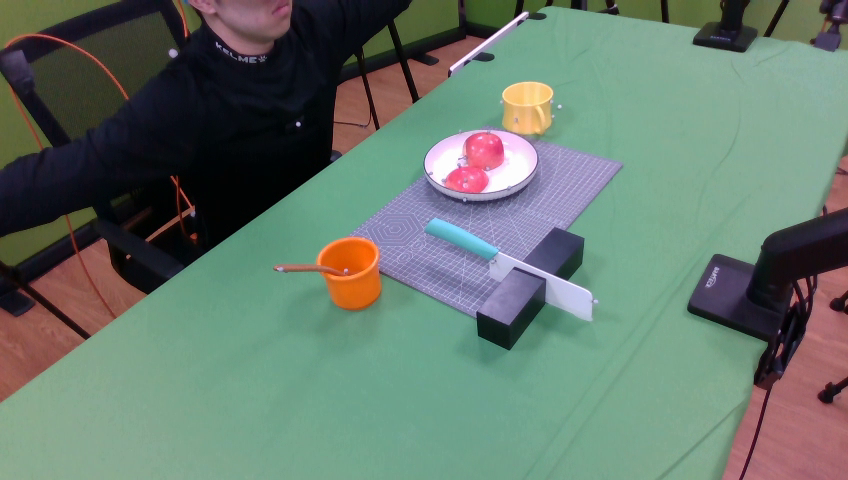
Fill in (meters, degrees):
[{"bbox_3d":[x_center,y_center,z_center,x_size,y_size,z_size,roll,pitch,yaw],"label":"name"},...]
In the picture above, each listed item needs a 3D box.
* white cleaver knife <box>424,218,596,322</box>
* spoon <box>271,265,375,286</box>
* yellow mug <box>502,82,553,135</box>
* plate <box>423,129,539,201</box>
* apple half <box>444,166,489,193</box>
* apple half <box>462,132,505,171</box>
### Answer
[{"bbox_3d":[0.114,0.042,0.865,0.284,0.066,0.021,27,47,28],"label":"white cleaver knife"},{"bbox_3d":[-0.136,0.046,0.839,0.041,0.195,0.021,24,94,35],"label":"spoon"},{"bbox_3d":[0.212,-0.256,1.204,0.100,0.064,0.130,-16,42,-10],"label":"yellow mug"},{"bbox_3d":[0.103,-0.132,1.092,0.209,0.038,0.208,-4,40,4],"label":"plate"},{"bbox_3d":[0.074,-0.112,1.062,0.081,0.033,0.081,-6,39,5],"label":"apple half"},{"bbox_3d":[0.109,-0.170,1.110,0.075,0.053,0.080,-6,40,-2],"label":"apple half"}]
